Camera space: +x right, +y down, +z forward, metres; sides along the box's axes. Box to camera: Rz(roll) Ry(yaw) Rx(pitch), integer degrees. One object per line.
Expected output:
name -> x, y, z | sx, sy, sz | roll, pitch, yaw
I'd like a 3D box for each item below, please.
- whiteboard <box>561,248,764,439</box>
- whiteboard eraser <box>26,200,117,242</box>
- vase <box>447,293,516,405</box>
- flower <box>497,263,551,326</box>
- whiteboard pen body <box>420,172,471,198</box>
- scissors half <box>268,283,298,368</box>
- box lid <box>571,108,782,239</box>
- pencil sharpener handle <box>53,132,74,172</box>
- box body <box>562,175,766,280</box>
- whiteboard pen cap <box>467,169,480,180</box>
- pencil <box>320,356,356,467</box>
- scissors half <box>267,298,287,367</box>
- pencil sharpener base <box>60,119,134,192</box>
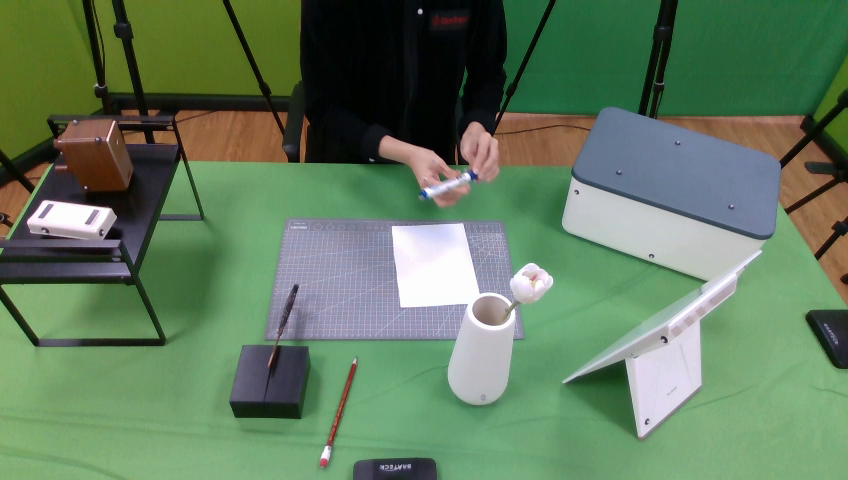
whiteboard -> 0.386, 0.176, 0.905 | 0.217, 0.306, 0.143 | -26, 72, -27
whiteboard eraser -> -0.532, -0.026, 0.919 | 0.113, 0.042, 0.055 | 7, 45, 3
vase -> 0.091, 0.169, 0.921 | 0.098, 0.201, 0.097 | 3, 47, -3
flower -> 0.103, 0.121, 0.853 | 0.044, 0.363, 0.038 | -1, 64, -9
whiteboard pen body -> 0.047, -0.101, 1.074 | 0.141, 0.017, 0.017 | -25, 53, -36
scissors half -> -0.230, 0.135, 0.986 | 0.013, 0.040, 0.174 | 20, 43, -11
box lid -> 0.491, -0.139, 1.168 | 0.370, 0.015, 0.262 | 21, 49, 15
pencil sharpener handle -> -0.578, -0.138, 0.961 | 0.031, 0.068, 0.036 | -4, 34, -7
box body -> 0.486, -0.088, 1.222 | 0.363, 0.161, 0.253 | 20, 48, 15
whiteboard pen cap -> 0.088, -0.120, 1.111 | 0.018, 0.018, 0.033 | 33, 30, 25
pencil -> -0.130, 0.261, 0.946 | 0.012, 0.012, 0.193 | 10, 45, 5
scissors half -> -0.239, 0.150, 0.997 | 0.013, 0.040, 0.174 | 24, 24, -14
pencil sharpener base -> -0.528, -0.135, 0.979 | 0.077, 0.107, 0.061 | -4, 47, -7
